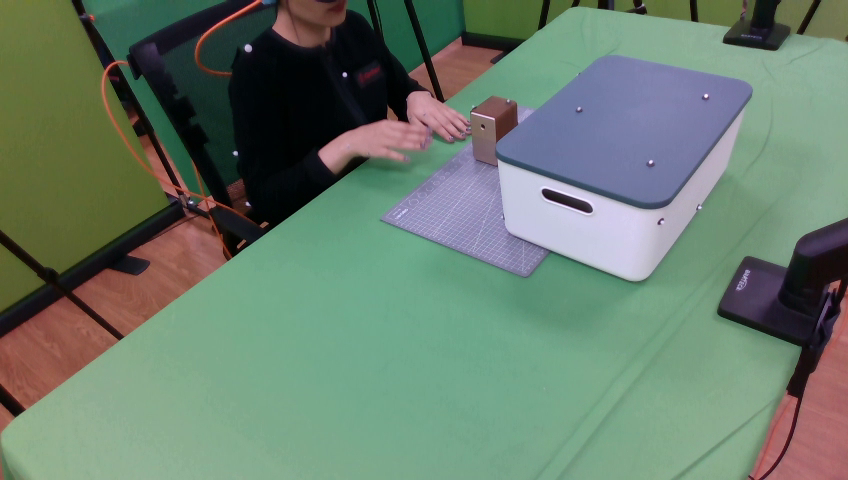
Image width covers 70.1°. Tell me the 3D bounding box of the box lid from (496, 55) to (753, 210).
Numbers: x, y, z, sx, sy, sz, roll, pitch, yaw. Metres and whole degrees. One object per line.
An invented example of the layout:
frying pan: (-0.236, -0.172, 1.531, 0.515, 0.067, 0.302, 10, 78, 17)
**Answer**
box lid: (0.308, -0.181, 0.911, 0.261, 0.015, 0.372, 24, 50, 31)

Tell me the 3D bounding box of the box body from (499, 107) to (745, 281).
box body: (0.315, -0.124, 0.958, 0.252, 0.161, 0.365, 24, 50, 32)

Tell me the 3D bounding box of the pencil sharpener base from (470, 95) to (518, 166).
pencil sharpener base: (0.134, -0.205, 1.128, 0.061, 0.107, 0.077, 23, 50, 33)

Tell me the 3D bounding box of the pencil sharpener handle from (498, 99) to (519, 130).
pencil sharpener handle: (0.165, -0.243, 1.148, 0.035, 0.068, 0.031, 21, 49, 35)
